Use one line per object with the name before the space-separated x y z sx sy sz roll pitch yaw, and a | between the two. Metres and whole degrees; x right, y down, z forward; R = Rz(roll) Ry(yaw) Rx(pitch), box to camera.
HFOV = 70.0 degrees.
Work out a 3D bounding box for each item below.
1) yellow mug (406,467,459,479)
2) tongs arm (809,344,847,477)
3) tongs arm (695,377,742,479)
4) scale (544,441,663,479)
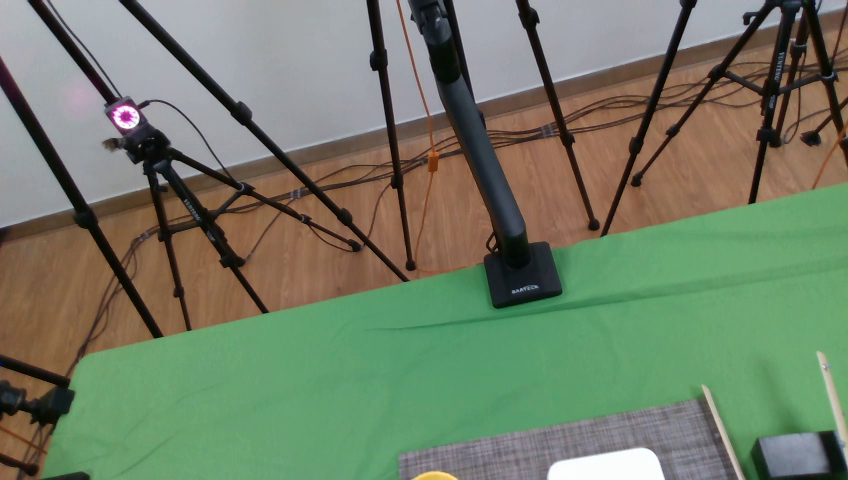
yellow mug | 0.029 0.365 0.798 0.130 0.064 0.099 12 56 24
tongs arm | 0.471 0.305 0.684 0.050 0.027 0.381 -23 50 35
tongs arm | 0.411 0.338 0.728 0.028 0.028 0.383 -31 45 23
scale | 0.241 0.361 0.759 0.148 0.032 0.198 -13 50 7
